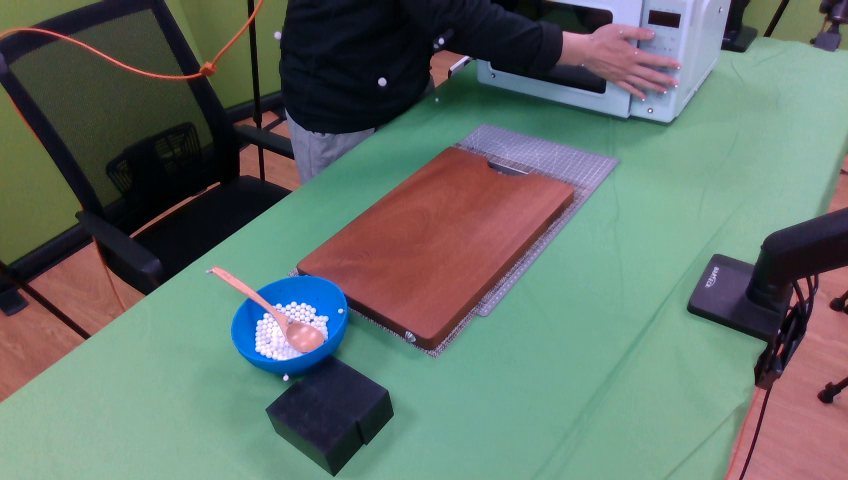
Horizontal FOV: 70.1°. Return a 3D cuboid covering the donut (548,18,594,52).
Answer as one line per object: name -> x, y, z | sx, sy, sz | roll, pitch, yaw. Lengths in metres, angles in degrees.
donut -> 0.316, -0.442, 1.301 | 0.099, 0.048, 0.098 | -18, 37, 15

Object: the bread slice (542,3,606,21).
bread slice -> 0.322, -0.484, 1.278 | 0.106, 0.018, 0.135 | 18, 34, 28

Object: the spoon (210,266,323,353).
spoon -> -0.213, 0.087, 0.806 | 0.193, 0.021, 0.042 | 36, 56, 11

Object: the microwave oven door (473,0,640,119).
microwave oven door -> 0.252, -0.391, 1.195 | 0.353, 0.245, 0.039 | 23, 49, 31

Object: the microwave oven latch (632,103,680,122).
microwave oven latch -> 0.443, -0.249, 1.157 | 0.078, 0.029, 0.030 | 20, 48, 29

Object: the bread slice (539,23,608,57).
bread slice -> 0.336, -0.447, 1.336 | 0.132, 0.019, 0.104 | -28, 43, -20

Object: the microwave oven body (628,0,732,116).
microwave oven body -> 0.377, -0.463, 1.267 | 0.438, 0.261, 0.327 | 21, 49, 30

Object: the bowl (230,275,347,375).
bowl -> -0.171, 0.125, 0.802 | 0.151, 0.077, 0.150 | -4, 40, 4
